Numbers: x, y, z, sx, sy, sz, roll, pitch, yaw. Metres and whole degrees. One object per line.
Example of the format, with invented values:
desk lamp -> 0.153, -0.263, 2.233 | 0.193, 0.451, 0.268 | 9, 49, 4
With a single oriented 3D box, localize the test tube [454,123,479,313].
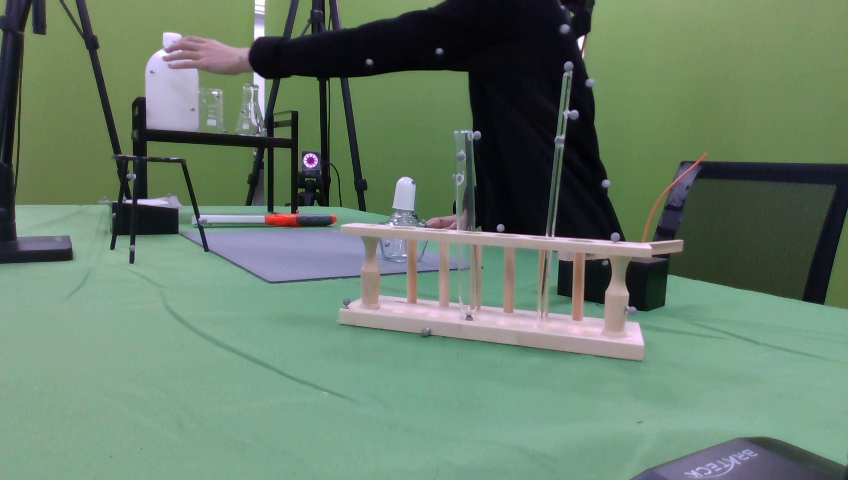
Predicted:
test tube -> 0.034, -0.016, 0.476 | 0.017, 0.150, 0.017 | -2, 9, 1

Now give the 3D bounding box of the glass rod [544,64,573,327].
glass rod -> 0.101, -0.028, 0.453 | 0.008, 0.199, 0.008 | 1, 14, 0

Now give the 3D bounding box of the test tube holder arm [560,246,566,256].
test tube holder arm -> 0.173, 0.007, 0.611 | 0.088, 0.015, 0.010 | -3, 10, -29

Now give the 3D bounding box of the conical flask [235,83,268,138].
conical flask -> -0.401, -0.299, 1.405 | 0.075, 0.122, 0.075 | 2, 7, 0

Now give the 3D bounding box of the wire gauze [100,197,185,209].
wire gauze -> -0.469, -0.062, 1.008 | 0.126, 0.011, 0.121 | -2, 8, -25

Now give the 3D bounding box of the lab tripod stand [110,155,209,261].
lab tripod stand -> -0.361, -0.046, 0.806 | 0.148, 0.131, 0.148 | 2, 5, 0

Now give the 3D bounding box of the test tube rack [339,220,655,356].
test tube rack -> 0.056, 0.032, 0.495 | 0.242, 0.085, 0.067 | 4, 7, 15

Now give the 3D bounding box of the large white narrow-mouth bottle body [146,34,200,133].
large white narrow-mouth bottle body -> -0.512, -0.318, 1.234 | 0.102, 0.194, 0.102 | 2, 8, 0

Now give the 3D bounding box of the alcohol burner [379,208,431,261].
alcohol burner -> -0.027, -0.031, 0.838 | 0.078, 0.119, 0.078 | 0, 6, 0

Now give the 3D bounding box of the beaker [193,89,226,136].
beaker -> -0.485, -0.284, 1.353 | 0.073, 0.100, 0.084 | 9, 10, 42

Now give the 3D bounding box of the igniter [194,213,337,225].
igniter -> -0.306, -0.042, 1.196 | 0.278, 0.025, 0.057 | -2, -2, -31

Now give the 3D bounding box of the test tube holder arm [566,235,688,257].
test tube holder arm -> 0.215, 0.006, 0.629 | 0.179, 0.015, 0.013 | -3, 10, -30

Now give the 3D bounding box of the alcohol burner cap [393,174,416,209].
alcohol burner cap -> -0.025, -0.067, 0.834 | 0.034, 0.048, 0.034 | 8, 8, -1

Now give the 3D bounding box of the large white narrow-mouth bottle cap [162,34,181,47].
large white narrow-mouth bottle cap -> -0.511, -0.402, 1.224 | 0.038, 0.024, 0.037 | 2, 7, 0
